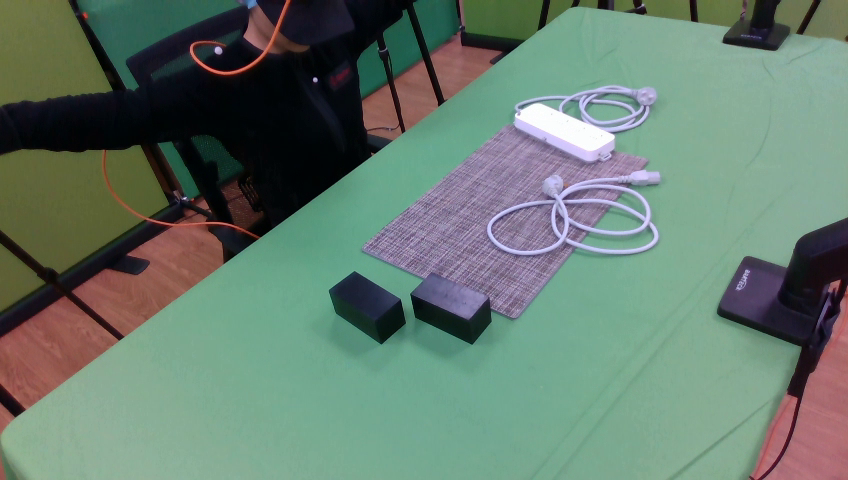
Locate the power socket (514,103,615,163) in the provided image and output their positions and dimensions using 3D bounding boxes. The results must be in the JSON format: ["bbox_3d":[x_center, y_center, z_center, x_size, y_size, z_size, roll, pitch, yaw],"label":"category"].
[{"bbox_3d":[0.268,-0.209,1.165,0.072,0.033,0.224,-30,44,-23],"label":"power socket"}]

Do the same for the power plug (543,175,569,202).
[{"bbox_3d":[0.229,-0.080,1.024,0.053,0.035,0.072,2,50,-26],"label":"power plug"}]
